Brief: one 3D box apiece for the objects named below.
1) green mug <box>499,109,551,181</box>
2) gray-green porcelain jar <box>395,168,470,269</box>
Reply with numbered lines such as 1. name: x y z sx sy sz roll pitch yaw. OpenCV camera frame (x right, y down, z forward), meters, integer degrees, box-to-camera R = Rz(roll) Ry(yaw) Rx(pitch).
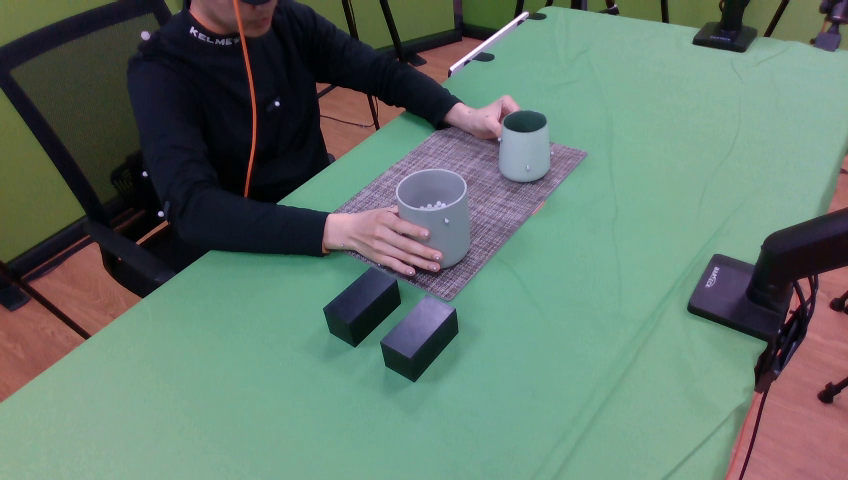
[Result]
1. green mug: 0.173 -0.176 1.078 0.093 0.105 0.124 -17 42 -10
2. gray-green porcelain jar: 0.016 -0.028 0.913 0.106 0.127 0.105 -4 41 4
